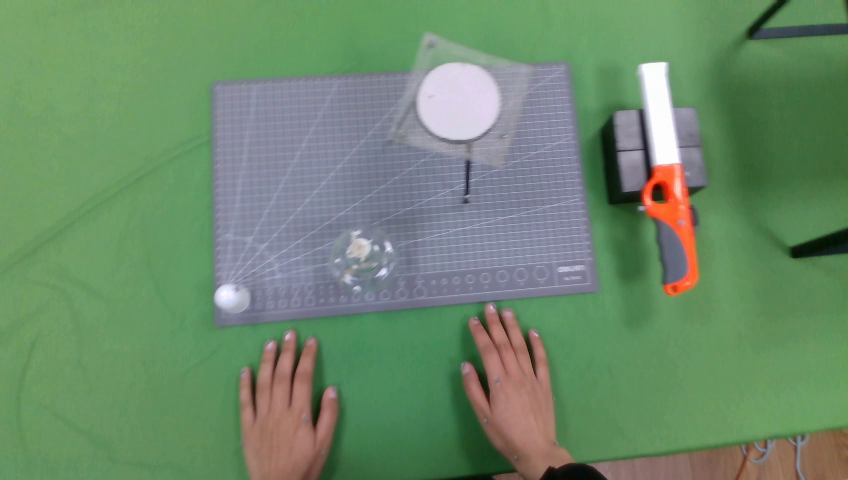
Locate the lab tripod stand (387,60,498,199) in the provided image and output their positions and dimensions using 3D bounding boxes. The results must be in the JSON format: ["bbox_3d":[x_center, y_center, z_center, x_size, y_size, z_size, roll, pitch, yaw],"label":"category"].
[{"bbox_3d":[0.030,-0.134,0.684,0.148,0.132,0.147,1,76,-3],"label":"lab tripod stand"}]

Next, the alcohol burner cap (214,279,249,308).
[{"bbox_3d":[-0.218,0.058,0.677,0.034,0.048,0.033,1,78,-4],"label":"alcohol burner cap"}]

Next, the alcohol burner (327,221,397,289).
[{"bbox_3d":[-0.068,0.013,0.659,0.078,0.119,0.077,1,80,-3],"label":"alcohol burner"}]

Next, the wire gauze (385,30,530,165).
[{"bbox_3d":[0.036,-0.146,0.618,0.121,0.011,0.124,18,77,0],"label":"wire gauze"}]

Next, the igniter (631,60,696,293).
[{"bbox_3d":[0.274,-0.077,0.698,0.057,0.025,0.275,-4,78,2],"label":"igniter"}]
